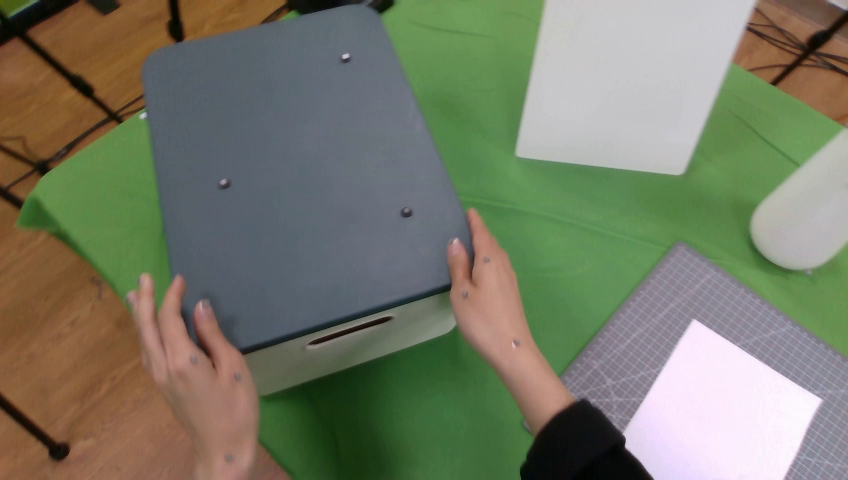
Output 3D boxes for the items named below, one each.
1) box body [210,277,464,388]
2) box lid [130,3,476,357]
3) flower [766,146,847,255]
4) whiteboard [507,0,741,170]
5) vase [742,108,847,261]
[{"bbox_3d":[-0.131,-0.050,0.654,0.254,0.161,0.360,-18,63,-10],"label":"box body"},{"bbox_3d":[-0.130,-0.088,0.590,0.264,0.015,0.368,-17,63,-11],"label":"box lid"},{"bbox_3d":[0.433,-0.112,0.587,0.044,0.364,0.038,33,48,19],"label":"flower"},{"bbox_3d":[0.232,-0.261,0.733,0.217,0.308,0.142,7,42,3],"label":"whiteboard"},{"bbox_3d":[0.429,-0.058,0.653,0.098,0.201,0.097,0,60,0],"label":"vase"}]
